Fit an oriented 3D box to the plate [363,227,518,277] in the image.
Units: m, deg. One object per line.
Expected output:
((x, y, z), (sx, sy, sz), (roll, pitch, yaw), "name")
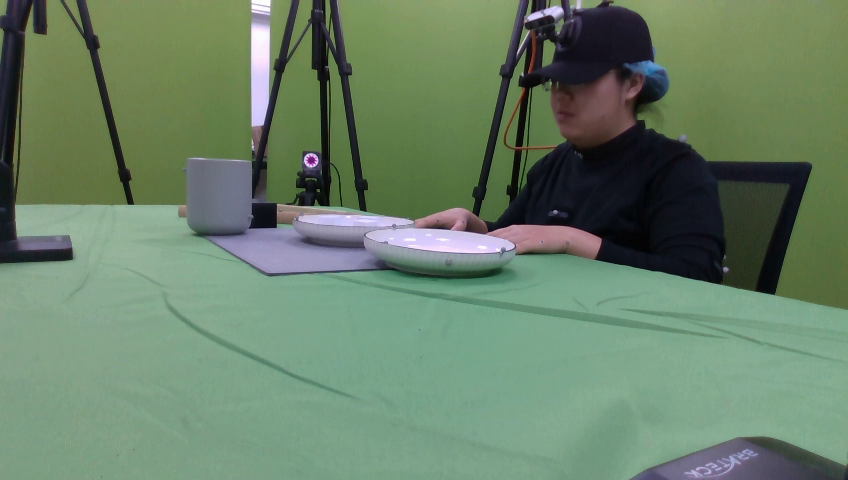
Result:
((0.022, 0.016, 0.817), (0.209, 0.038, 0.209), (3, 9, 0), "plate")

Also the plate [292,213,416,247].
((-0.118, -0.017, 1.024), (0.208, 0.039, 0.207), (2, 8, 0), "plate")

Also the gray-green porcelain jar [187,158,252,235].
((-0.350, -0.075, 1.036), (0.106, 0.126, 0.106), (3, 8, 0), "gray-green porcelain jar")

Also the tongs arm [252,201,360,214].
((-0.307, -0.064, 1.348), (0.384, 0.026, 0.051), (7, 9, 20), "tongs arm")

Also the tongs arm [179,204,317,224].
((-0.330, -0.051, 1.270), (0.387, 0.028, 0.028), (4, 5, 6), "tongs arm")
